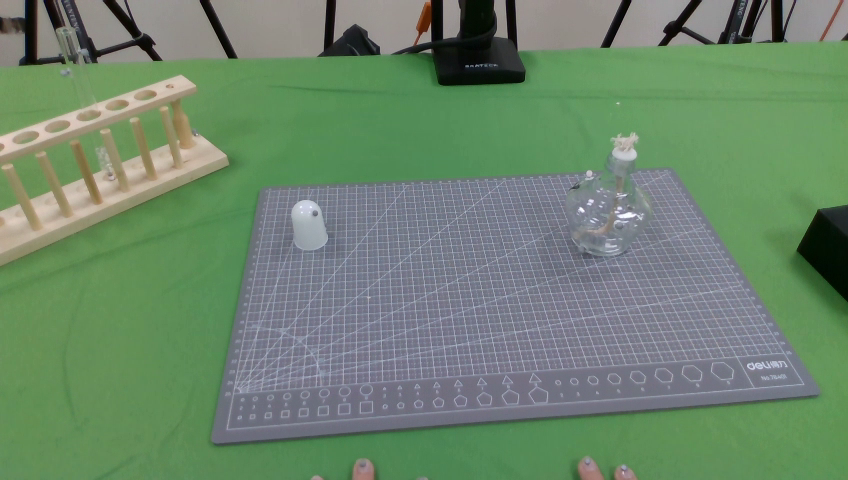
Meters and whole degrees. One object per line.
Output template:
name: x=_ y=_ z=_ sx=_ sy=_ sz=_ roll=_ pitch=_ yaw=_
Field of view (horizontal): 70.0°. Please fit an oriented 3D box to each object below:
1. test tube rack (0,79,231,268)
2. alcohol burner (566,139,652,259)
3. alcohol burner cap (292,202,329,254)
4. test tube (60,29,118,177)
test tube rack: x=-0.325 y=-0.074 z=0.602 sx=0.242 sy=0.086 sz=0.066 roll=-32 pitch=50 yaw=-31
alcohol burner: x=0.170 y=-0.041 z=0.546 sx=0.078 sy=0.120 sz=0.077 roll=1 pitch=44 yaw=-1
alcohol burner cap: x=-0.107 y=-0.014 z=0.567 sx=0.034 sy=0.048 sz=0.033 roll=0 pitch=42 yaw=0
test tube: x=-0.323 y=-0.128 z=0.589 sx=0.017 sy=0.151 sz=0.017 roll=2 pitch=36 yaw=-1
